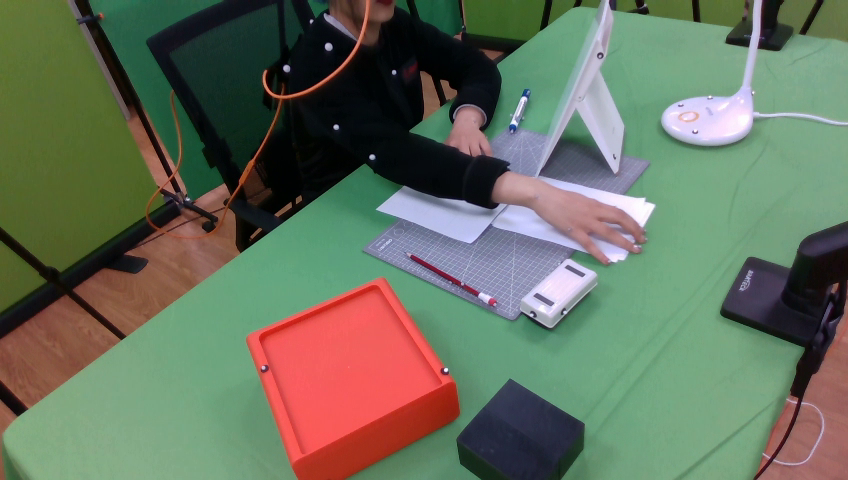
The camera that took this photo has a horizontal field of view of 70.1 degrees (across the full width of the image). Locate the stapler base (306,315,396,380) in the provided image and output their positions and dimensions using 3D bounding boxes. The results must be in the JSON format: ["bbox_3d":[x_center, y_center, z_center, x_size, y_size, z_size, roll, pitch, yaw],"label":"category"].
[{"bbox_3d":[-0.101,0.139,0.819,0.131,0.024,0.041,-31,37,-13],"label":"stapler base"}]

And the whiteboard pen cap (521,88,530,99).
[{"bbox_3d":[0.218,-0.312,1.301,0.018,0.018,0.033,6,46,17],"label":"whiteboard pen cap"}]

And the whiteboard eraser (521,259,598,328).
[{"bbox_3d":[0.189,0.076,0.843,0.055,0.042,0.113,29,53,37],"label":"whiteboard eraser"}]

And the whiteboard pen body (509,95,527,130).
[{"bbox_3d":[0.199,-0.272,1.262,0.017,0.017,0.140,8,44,19],"label":"whiteboard pen body"}]

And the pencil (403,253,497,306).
[{"bbox_3d":[0.034,0.056,0.914,0.192,0.012,0.012,27,52,38],"label":"pencil"}]

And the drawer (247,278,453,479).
[{"bbox_3d":[-0.096,0.167,0.758,0.195,0.073,0.210,-22,43,-16],"label":"drawer"}]

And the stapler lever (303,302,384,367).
[{"bbox_3d":[-0.108,0.123,0.805,0.118,0.040,0.026,-27,36,-15],"label":"stapler lever"}]

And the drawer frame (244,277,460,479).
[{"bbox_3d":[-0.093,0.167,0.755,0.202,0.083,0.211,-23,43,-17],"label":"drawer frame"}]

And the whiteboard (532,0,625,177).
[{"bbox_3d":[0.321,-0.258,1.050,0.144,0.306,0.217,21,45,5],"label":"whiteboard"}]

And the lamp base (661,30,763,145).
[{"bbox_3d":[0.535,-0.287,1.096,0.179,0.181,0.159,-10,40,-4],"label":"lamp base"}]
